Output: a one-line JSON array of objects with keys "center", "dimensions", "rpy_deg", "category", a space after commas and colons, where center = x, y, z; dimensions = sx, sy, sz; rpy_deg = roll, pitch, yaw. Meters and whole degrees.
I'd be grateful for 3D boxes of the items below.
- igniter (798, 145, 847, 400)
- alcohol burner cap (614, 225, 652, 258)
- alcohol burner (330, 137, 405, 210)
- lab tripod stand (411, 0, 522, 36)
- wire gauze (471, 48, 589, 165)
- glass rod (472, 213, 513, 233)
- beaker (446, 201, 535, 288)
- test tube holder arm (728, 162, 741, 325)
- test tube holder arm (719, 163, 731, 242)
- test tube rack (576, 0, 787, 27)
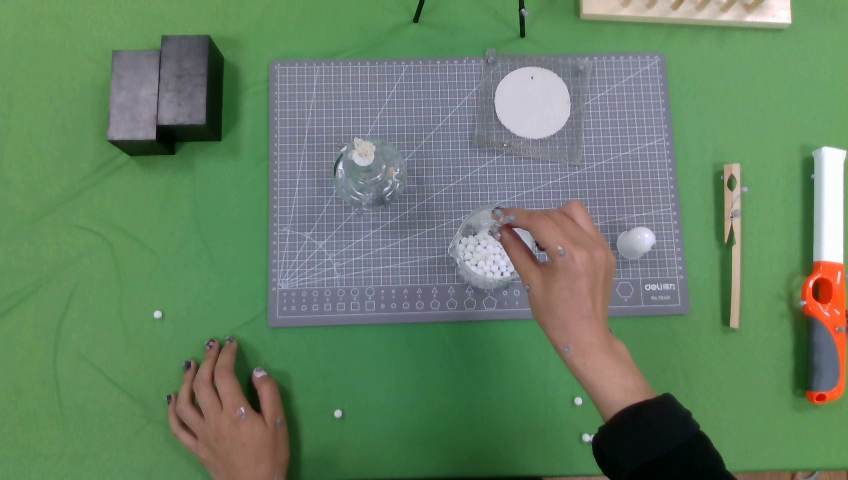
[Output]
[{"center": [0.430, 0.032, 0.652], "dimensions": [0.057, 0.025, 0.275], "rpy_deg": [8, 81, -10], "category": "igniter"}, {"center": [0.224, -0.001, 0.643], "dimensions": [0.034, 0.048, 0.033], "rpy_deg": [0, 80, -1], "category": "alcohol burner cap"}, {"center": [-0.059, -0.073, 0.612], "dimensions": [0.078, 0.119, 0.077], "rpy_deg": [0, 79, 1], "category": "alcohol burner"}, {"center": [0.054, -0.290, 0.643], "dimensions": [0.148, 0.132, 0.148], "rpy_deg": [0, 82, -1], "category": "lab tripod stand"}, {"center": [0.120, -0.153, 0.683], "dimensions": [0.125, 0.011, 0.121], "rpy_deg": [9, 82, 0], "category": "wire gauze"}, {"center": [0.059, -0.015, 0.555], "dimensions": [0.008, 0.199, 0.008], "rpy_deg": [0, 88, -3], "category": "glass rod"}, {"center": [0.062, 0.010, 0.609], "dimensions": [0.084, 0.100, 0.073], "rpy_deg": [-10, 80, -2], "category": "beaker"}, {"center": [0.336, 0.003, 0.658], "dimensions": [0.013, 0.015, 0.177], "rpy_deg": [-5, 79, 34], "category": "test tube holder arm"}, {"center": [0.333, -0.041, 0.668], "dimensions": [0.010, 0.015, 0.087], "rpy_deg": [-4, 79, 34], "category": "test tube holder arm"}, {"center": [0.300, -0.293, 0.673], "dimensions": [0.242, 0.085, 0.066], "rpy_deg": [2, 80, -1], "category": "test tube rack"}]
